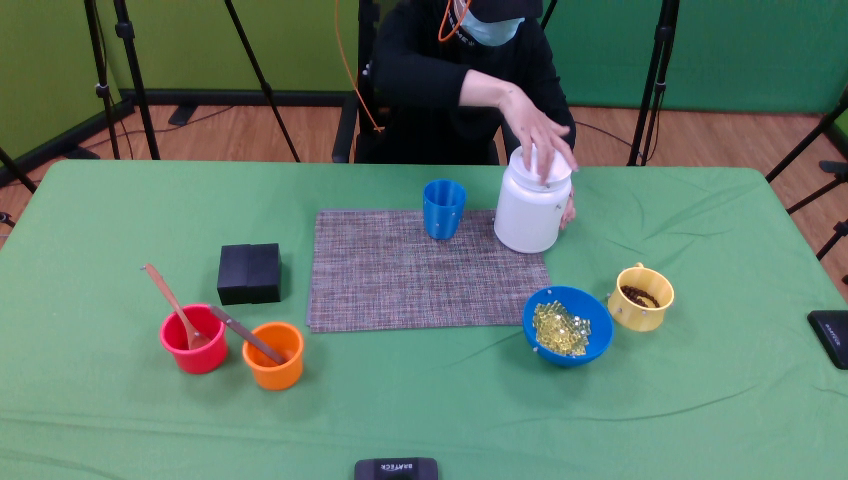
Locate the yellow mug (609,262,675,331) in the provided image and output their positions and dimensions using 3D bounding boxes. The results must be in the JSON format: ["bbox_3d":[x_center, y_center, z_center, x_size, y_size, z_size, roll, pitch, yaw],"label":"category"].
[{"bbox_3d":[0.393,0.094,1.103,0.100,0.064,0.130,7,45,3],"label":"yellow mug"}]

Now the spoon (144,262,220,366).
[{"bbox_3d":[-0.389,0.118,0.970,0.041,0.021,0.194,-34,101,-34],"label":"spoon"}]

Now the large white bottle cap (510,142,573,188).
[{"bbox_3d":[0.215,-0.138,1.108,0.115,0.018,0.114,2,47,-2],"label":"large white bottle cap"}]

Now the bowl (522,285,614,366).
[{"bbox_3d":[0.235,0.158,1.022,0.151,0.077,0.150,2,46,-2],"label":"bowl"}]

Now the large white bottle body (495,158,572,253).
[{"bbox_3d":[0.211,-0.079,1.170,0.131,0.185,0.130,1,46,-1],"label":"large white bottle body"}]

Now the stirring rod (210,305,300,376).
[{"bbox_3d":[-0.262,0.158,0.946,0.177,0.006,0.014,43,43,-21],"label":"stirring rod"}]

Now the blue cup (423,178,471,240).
[{"bbox_3d":[0.036,-0.056,1.192,0.093,0.101,0.092,3,45,-3],"label":"blue cup"}]
